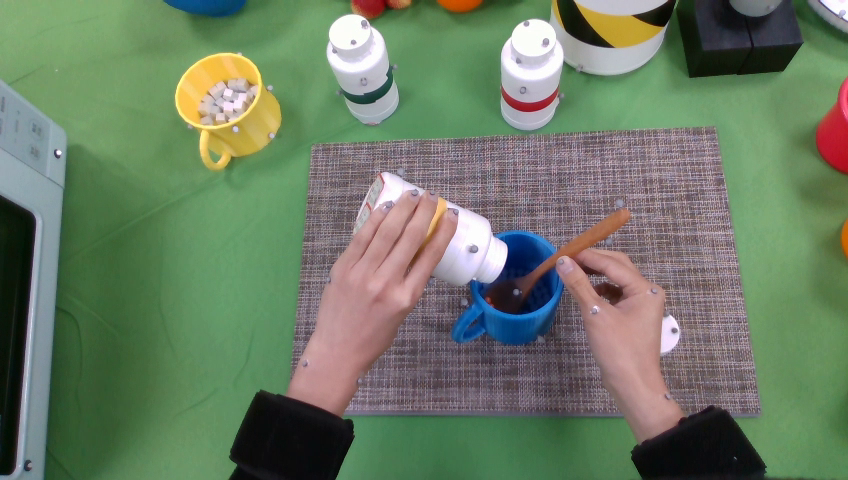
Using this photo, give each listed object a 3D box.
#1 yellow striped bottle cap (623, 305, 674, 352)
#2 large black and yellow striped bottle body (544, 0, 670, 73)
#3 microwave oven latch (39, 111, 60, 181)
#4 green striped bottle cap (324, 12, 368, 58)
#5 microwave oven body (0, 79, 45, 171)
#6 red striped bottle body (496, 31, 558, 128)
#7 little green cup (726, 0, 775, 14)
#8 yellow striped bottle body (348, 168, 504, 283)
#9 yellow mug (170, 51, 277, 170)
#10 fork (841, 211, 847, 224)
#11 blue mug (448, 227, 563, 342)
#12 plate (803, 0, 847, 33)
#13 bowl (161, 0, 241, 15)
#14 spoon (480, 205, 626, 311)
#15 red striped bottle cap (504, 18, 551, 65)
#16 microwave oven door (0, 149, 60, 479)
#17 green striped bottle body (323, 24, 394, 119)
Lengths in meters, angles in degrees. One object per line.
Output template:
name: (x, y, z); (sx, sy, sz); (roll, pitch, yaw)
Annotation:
yellow striped bottle cap: (0.217, 0.085, 0.584); (0.044, 0.019, 0.044); (-2, 70, 7)
large black and yellow striped bottle body: (0.196, -0.279, 0.631); (0.130, 0.185, 0.130); (-2, 70, 6)
microwave oven latch: (-0.442, -0.106, 0.700); (0.030, 0.030, 0.078); (-9, 70, 3)
green striped bottle cap: (-0.079, -0.208, 0.615); (0.044, 0.020, 0.044); (-2, 70, 4)
microwave oven body: (-0.572, 0.050, 0.556); (0.326, 0.262, 0.438); (-10, 70, 2)
red striped bottle body: (0.108, -0.175, 0.638); (0.063, 0.120, 0.062); (-3, 68, 8)
little green cup: (0.347, -0.270, 0.634); (0.061, 0.039, 0.061); (-1, 68, 3)
yellow striped bottle body: (0.005, -0.006, 0.491); (0.121, 0.062, 0.062); (23, 72, -17)
yellow mug: (-0.232, -0.143, 0.694); (0.100, 0.064, 0.130); (8, 72, 9)
fork: (0.462, 0.006, 0.517); (0.028, 0.019, 0.205); (-39, 27, -7)
blue mug: (0.070, 0.055, 0.563); (0.116, 0.106, 0.082); (-37, 70, -8)
plate: (0.517, -0.306, 0.682); (0.209, 0.038, 0.207); (-2, 71, 6)
bowl: (-0.276, -0.340, 0.763); (0.151, 0.077, 0.150); (-2, 70, 6)
spoon: (0.103, 0.023, 0.524); (0.022, 0.194, 0.041); (5, 61, -26)
red striped bottle cap: (0.101, -0.194, 0.589); (0.044, 0.018, 0.044); (-1, 69, 2)
microwave oven door: (-0.423, 0.062, 0.529); (0.039, 0.245, 0.353); (-11, 69, 3)
green striped bottle body: (-0.072, -0.190, 0.664); (0.063, 0.120, 0.063); (-2, 70, 5)
